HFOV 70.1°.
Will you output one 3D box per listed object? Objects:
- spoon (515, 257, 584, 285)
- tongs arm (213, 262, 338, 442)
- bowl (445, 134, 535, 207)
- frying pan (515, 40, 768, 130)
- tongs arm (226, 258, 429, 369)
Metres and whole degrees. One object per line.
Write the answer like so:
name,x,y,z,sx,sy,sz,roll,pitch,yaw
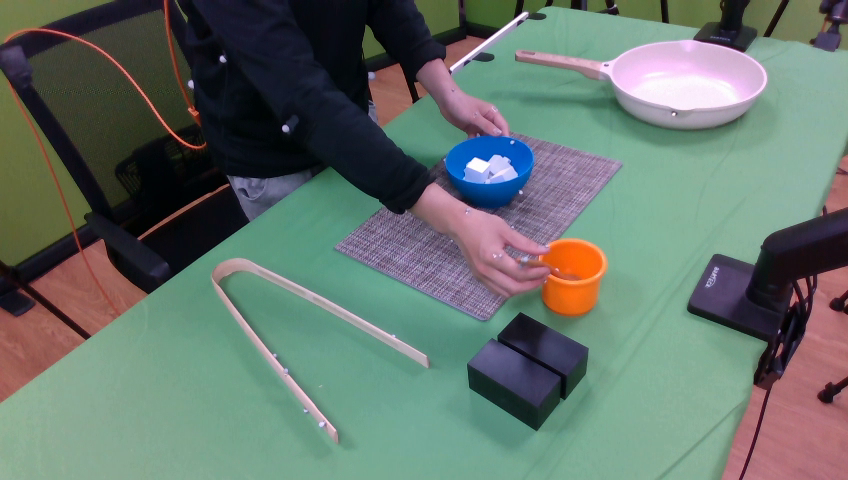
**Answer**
spoon,0.164,0.038,0.797,0.041,0.195,0.021,9,82,36
tongs arm,-0.208,0.136,0.830,0.051,0.026,0.381,-31,45,-28
bowl,0.112,-0.109,1.029,0.151,0.077,0.150,-4,41,4
frying pan,0.423,-0.338,1.236,0.486,0.103,0.307,16,44,13
tongs arm,-0.150,0.098,0.874,0.384,0.028,0.028,22,50,30
